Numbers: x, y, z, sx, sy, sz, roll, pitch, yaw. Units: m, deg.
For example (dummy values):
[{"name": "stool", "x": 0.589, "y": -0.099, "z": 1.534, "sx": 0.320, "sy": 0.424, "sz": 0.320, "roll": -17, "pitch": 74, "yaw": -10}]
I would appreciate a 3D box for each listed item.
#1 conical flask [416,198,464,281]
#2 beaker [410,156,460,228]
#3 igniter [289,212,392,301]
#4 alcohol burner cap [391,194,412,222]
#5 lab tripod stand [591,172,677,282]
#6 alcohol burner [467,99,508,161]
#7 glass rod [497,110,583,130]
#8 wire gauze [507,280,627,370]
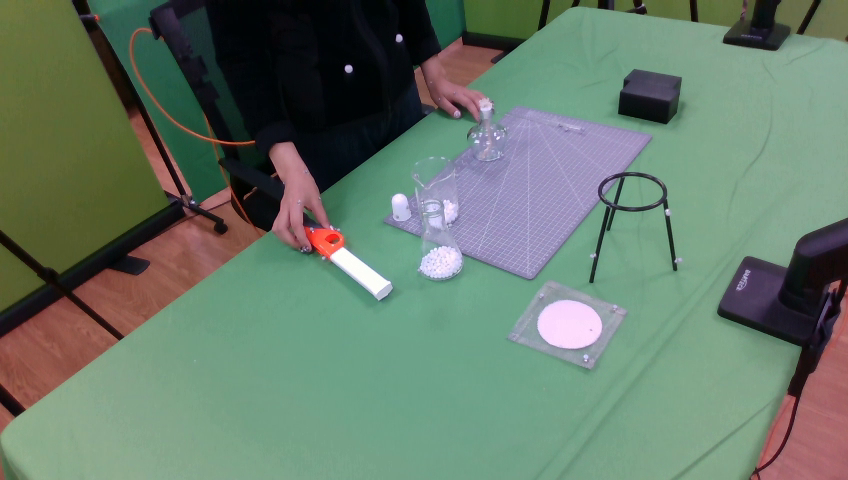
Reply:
[{"name": "conical flask", "x": 0.019, "y": -0.004, "z": 0.907, "sx": 0.075, "sy": 0.122, "sz": 0.075, "roll": -5, "pitch": 40, "yaw": 5}, {"name": "beaker", "x": 0.020, "y": -0.076, "z": 1.006, "sx": 0.074, "sy": 0.101, "sz": 0.084, "roll": 3, "pitch": 42, "yaw": 15}, {"name": "igniter", "x": -0.145, "y": 0.019, "z": 0.985, "sx": 0.057, "sy": 0.025, "sz": 0.274, "roll": -36, "pitch": 46, "yaw": -22}, {"name": "alcohol burner cap", "x": -0.041, "y": -0.057, "z": 1.040, "sx": 0.034, "sy": 0.048, "sz": 0.033, "roll": -6, "pitch": 40, "yaw": 5}, {"name": "lab tripod stand", "x": 0.292, "y": -0.022, "z": 0.867, "sx": 0.148, "sy": 0.132, "sz": 0.147, "roll": -7, "pitch": 39, "yaw": 6}, {"name": "alcohol burner", "x": 0.119, "y": -0.210, "z": 1.134, "sx": 0.078, "sy": 0.119, "sz": 0.077, "roll": -4, "pitch": 39, "yaw": 4}, {"name": "glass rod", "x": 0.233, "y": -0.245, "z": 1.235, "sx": 0.198, "sy": 0.008, "sz": 0.008, "roll": 21, "pitch": 49, "yaw": 35}, {"name": "wire gauze", "x": 0.196, "y": 0.114, "z": 0.823, "sx": 0.120, "sy": 0.011, "sz": 0.125, "roll": 20, "pitch": 50, "yaw": 31}]
